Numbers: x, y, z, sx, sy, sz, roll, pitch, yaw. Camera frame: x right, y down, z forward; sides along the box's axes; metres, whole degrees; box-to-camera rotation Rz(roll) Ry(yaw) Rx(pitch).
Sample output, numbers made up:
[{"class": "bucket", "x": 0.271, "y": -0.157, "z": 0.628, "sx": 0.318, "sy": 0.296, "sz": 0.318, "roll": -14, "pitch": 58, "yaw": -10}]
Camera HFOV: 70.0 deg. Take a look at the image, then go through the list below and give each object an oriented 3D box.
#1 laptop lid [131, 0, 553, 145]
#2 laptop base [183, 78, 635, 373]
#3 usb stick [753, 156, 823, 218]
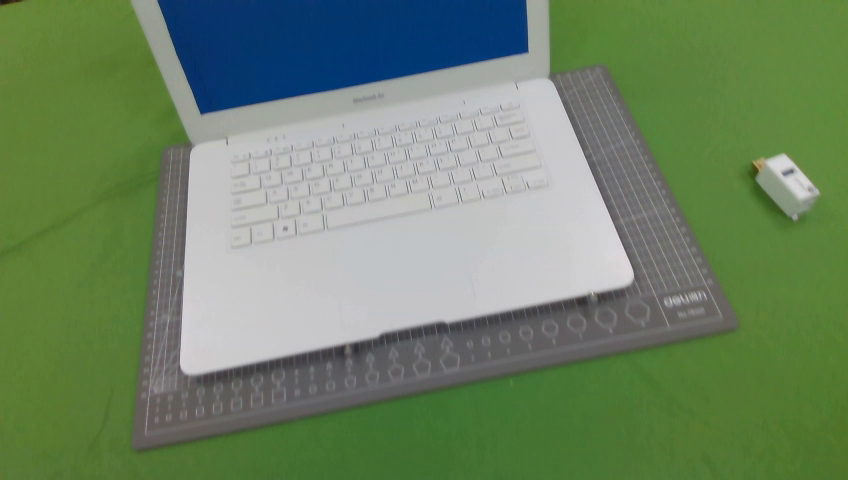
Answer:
[{"class": "laptop lid", "x": -0.064, "y": -0.211, "z": 0.516, "sx": 0.357, "sy": 0.244, "sz": 0.013, "roll": -12, "pitch": 38, "yaw": -1}, {"class": "laptop base", "x": -0.027, "y": -0.025, "z": 0.524, "sx": 0.354, "sy": 0.023, "sz": 0.233, "roll": -11, "pitch": 59, "yaw": -1}, {"class": "usb stick", "x": 0.298, "y": -0.049, "z": 0.501, "sx": 0.021, "sy": 0.027, "sz": 0.058, "roll": -20, "pitch": 54, "yaw": -6}]
